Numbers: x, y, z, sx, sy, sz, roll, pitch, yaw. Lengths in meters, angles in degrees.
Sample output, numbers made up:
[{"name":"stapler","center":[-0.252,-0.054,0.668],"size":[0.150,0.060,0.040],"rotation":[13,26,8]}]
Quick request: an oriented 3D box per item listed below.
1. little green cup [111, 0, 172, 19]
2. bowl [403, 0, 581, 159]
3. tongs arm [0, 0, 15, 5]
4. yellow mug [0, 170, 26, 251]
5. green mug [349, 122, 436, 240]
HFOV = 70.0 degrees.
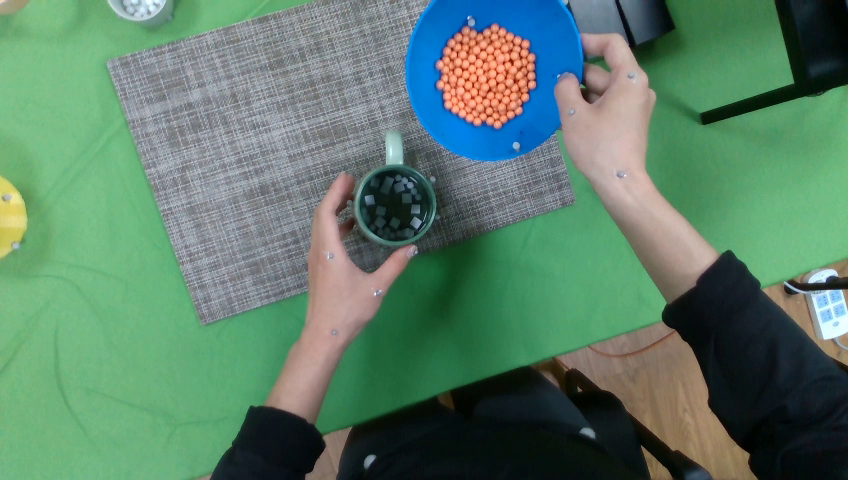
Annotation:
[{"name":"little green cup","center":[-0.294,-0.261,0.629],"size":[0.061,0.038,0.061],"rotation":[-1,95,-7]},{"name":"bowl","center":[0.052,-0.155,0.531],"size":[0.151,0.076,0.152],"rotation":[-3,110,-7]},{"name":"tongs arm","center":[-0.577,-0.269,0.563],"size":[0.385,0.026,0.050],"rotation":[11,89,-5]},{"name":"yellow mug","center":[-0.475,-0.015,0.610],"size":[0.100,0.064,0.131],"rotation":[15,93,-8]},{"name":"green mug","center":[-0.033,-0.060,0.636],"size":[0.093,0.104,0.125],"rotation":[-2,94,-7]}]
